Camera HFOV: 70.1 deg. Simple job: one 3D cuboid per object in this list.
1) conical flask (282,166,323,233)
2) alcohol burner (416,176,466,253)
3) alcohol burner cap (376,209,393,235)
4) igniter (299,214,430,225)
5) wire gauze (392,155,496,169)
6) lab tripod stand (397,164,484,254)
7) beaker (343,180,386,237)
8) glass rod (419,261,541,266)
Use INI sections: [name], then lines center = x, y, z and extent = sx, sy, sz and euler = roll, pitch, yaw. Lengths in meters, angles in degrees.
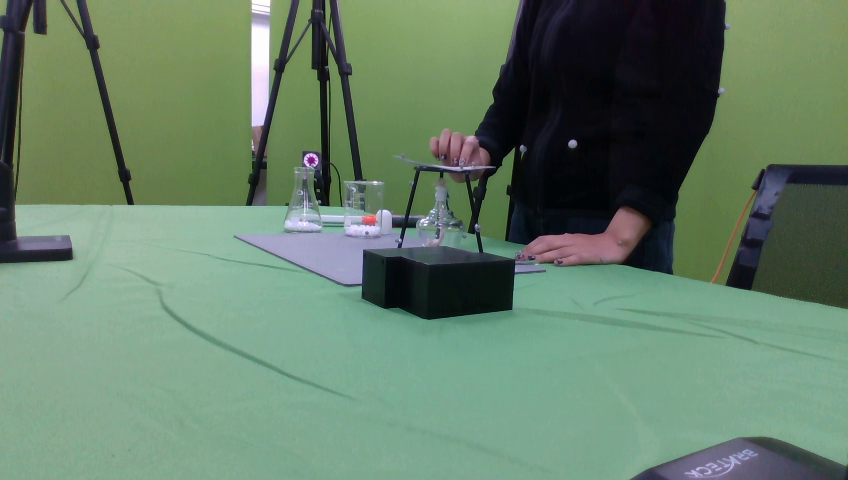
[conical flask]
center = -0.225, -0.076, 1.129
extent = 0.075, 0.122, 0.075
euler = 2, 8, 0
[alcohol burner]
center = 0.027, -0.039, 0.934
extent = 0.078, 0.119, 0.078
euler = 2, 9, 0
[alcohol burner cap]
center = -0.075, -0.036, 1.150
extent = 0.034, 0.048, 0.034
euler = 2, 7, 0
[igniter]
center = -0.123, -0.044, 1.281
extent = 0.278, 0.025, 0.057
euler = 0, -2, -19
[wire gauze]
center = 0.032, -0.116, 0.924
extent = 0.124, 0.011, 0.122
euler = 10, 8, 32
[lab tripod stand]
center = 0.029, -0.049, 0.930
extent = 0.148, 0.131, 0.148
euler = 4, 6, 0
[beaker]
center = -0.111, -0.058, 1.090
extent = 0.083, 0.100, 0.074
euler = 7, 8, 33
[glass rod]
center = 0.080, 0.031, 0.807
extent = 0.201, 0.008, 0.008
euler = 1, 6, -31
